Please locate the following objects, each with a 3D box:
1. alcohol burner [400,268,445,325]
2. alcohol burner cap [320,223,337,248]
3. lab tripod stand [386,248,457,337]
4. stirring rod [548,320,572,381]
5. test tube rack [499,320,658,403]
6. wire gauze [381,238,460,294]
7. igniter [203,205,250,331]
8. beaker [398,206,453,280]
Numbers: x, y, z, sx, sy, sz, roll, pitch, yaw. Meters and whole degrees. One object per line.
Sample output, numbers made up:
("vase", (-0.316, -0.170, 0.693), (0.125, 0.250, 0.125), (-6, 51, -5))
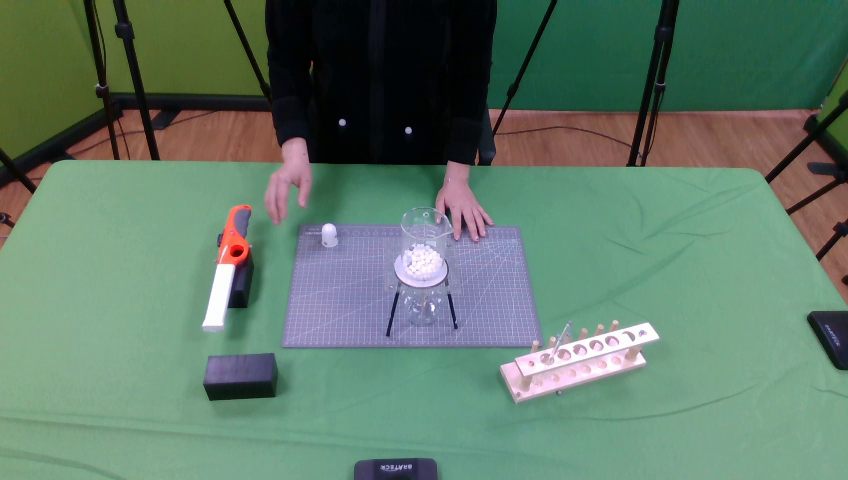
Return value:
("alcohol burner", (-0.003, 0.092, 1.042), (0.078, 0.120, 0.077), (1, 46, -1))
("alcohol burner cap", (-0.188, -0.011, 1.176), (0.034, 0.048, 0.033), (2, 46, -2))
("lab tripod stand", (-0.010, 0.087, 1.032), (0.148, 0.132, 0.147), (1, 45, -1))
("stirring rod", (0.201, 0.167, 0.901), (0.006, 0.177, 0.014), (-15, 54, -10))
("test tube rack", (0.252, 0.187, 0.994), (0.243, 0.085, 0.066), (-12, 48, -15))
("wire gauze", (-0.007, 0.042, 0.985), (0.125, 0.011, 0.120), (-1, 43, -2))
("igniter", (-0.345, 0.039, 1.065), (0.057, 0.025, 0.274), (2, 48, -6))
("beaker", (0.000, 0.008, 0.950), (0.084, 0.101, 0.073), (10, 45, 6))
